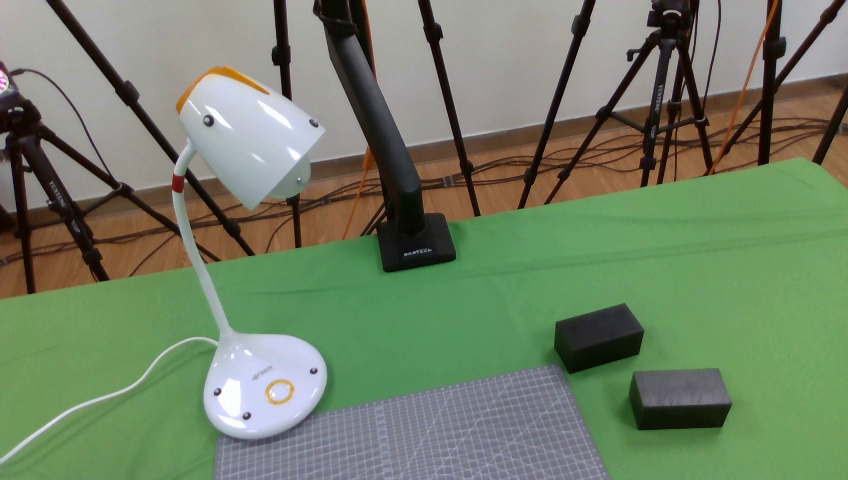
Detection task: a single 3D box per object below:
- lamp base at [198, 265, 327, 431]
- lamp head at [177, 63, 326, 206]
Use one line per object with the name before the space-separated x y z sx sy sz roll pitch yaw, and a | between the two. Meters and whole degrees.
lamp base | -0.227 0.122 0.764 0.178 0.182 0.160 21 47 31
lamp head | -0.178 -0.108 0.592 0.123 0.112 0.111 38 45 -13
